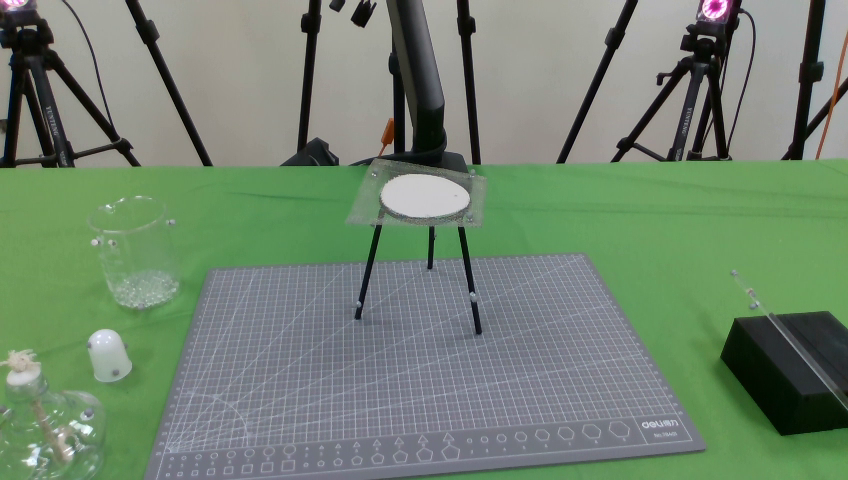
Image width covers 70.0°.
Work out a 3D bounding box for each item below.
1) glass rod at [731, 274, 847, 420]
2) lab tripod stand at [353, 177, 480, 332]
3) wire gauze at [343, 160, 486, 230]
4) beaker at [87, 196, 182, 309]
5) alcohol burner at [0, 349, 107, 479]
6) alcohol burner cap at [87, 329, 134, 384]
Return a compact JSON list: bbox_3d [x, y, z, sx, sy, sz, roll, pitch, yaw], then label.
[{"bbox_3d":[0.329,0.090,0.551,0.008,0.008,0.198,0,33,-4],"label":"glass rod"},{"bbox_3d":[0.001,0.014,0.614,0.148,0.132,0.147,4,32,-2],"label":"lab tripod stand"},{"bbox_3d":[-0.003,-0.043,0.578,0.121,0.011,0.124,7,32,5],"label":"wire gauze"},{"bbox_3d":[-0.298,0.014,0.630,0.083,0.101,0.074,23,37,30],"label":"beaker"},{"bbox_3d":[-0.277,0.128,0.437,0.078,0.120,0.077,0,33,0],"label":"alcohol burner"},{"bbox_3d":[-0.284,0.102,0.545,0.034,0.048,0.033,2,32,-1],"label":"alcohol burner cap"}]
